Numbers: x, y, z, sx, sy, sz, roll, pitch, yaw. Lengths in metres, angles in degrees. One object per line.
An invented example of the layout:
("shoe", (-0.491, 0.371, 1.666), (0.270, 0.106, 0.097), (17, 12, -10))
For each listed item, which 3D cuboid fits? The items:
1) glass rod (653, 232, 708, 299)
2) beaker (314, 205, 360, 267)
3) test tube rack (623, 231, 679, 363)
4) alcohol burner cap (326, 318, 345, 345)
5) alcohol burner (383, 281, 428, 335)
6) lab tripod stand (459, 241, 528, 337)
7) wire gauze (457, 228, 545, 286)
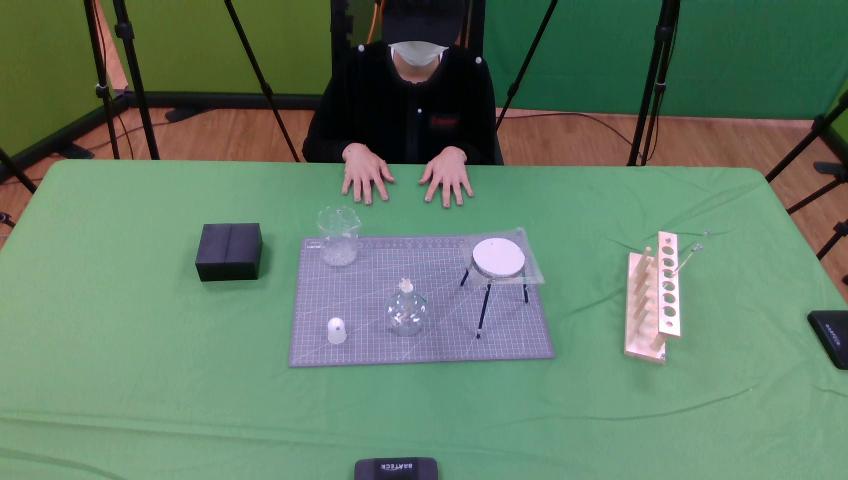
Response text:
("glass rod", (0.441, 0.049, 1.050), (0.008, 0.200, 0.008), (4, 52, -5))
("beaker", (-0.160, -0.004, 1.132), (0.084, 0.101, 0.073), (9, 46, 3))
("test tube rack", (0.410, 0.094, 1.096), (0.066, 0.085, 0.241), (13, 46, 9))
("alcohol burner cap", (-0.149, 0.151, 1.023), (0.034, 0.048, 0.033), (3, 46, -3))
("alcohol burner", (-0.030, 0.108, 1.024), (0.078, 0.119, 0.077), (2, 48, -2))
("lab tripod stand", (0.122, 0.075, 1.054), (0.148, 0.132, 0.147), (3, 44, -3))
("wire gauze", (0.126, 0.028, 1.006), (0.125, 0.011, 0.120), (-4, 46, -10))
